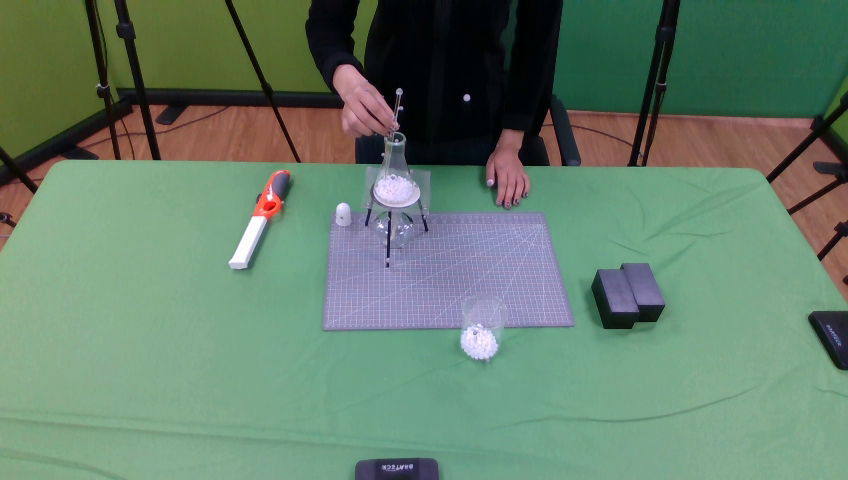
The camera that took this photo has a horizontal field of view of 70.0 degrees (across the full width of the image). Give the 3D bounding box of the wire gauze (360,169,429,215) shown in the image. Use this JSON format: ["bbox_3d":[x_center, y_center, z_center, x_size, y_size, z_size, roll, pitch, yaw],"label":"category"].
[{"bbox_3d":[-0.052,-0.092,1.111,0.125,0.011,0.120,3,43,1],"label":"wire gauze"}]

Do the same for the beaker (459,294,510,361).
[{"bbox_3d":[0.095,0.147,1.012,0.083,0.101,0.074,26,49,21],"label":"beaker"}]

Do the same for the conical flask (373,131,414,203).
[{"bbox_3d":[-0.053,-0.131,1.066,0.075,0.122,0.075,2,44,-2],"label":"conical flask"}]

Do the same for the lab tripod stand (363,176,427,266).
[{"bbox_3d":[-0.058,-0.047,1.159,0.148,0.132,0.147,3,44,-2],"label":"lab tripod stand"}]

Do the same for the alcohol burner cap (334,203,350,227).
[{"bbox_3d":[-0.166,-0.054,1.221,0.034,0.048,0.033,3,46,-2],"label":"alcohol burner cap"}]

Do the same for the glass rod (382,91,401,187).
[{"bbox_3d":[-0.057,-0.168,1.039,0.008,0.200,0.008,7,44,-7],"label":"glass rod"}]

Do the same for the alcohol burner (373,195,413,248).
[{"bbox_3d":[-0.059,-0.041,1.167,0.078,0.119,0.077,4,45,-4],"label":"alcohol burner"}]

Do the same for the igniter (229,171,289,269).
[{"bbox_3d":[-0.328,-0.049,1.218,0.057,0.025,0.275,0,45,11],"label":"igniter"}]
